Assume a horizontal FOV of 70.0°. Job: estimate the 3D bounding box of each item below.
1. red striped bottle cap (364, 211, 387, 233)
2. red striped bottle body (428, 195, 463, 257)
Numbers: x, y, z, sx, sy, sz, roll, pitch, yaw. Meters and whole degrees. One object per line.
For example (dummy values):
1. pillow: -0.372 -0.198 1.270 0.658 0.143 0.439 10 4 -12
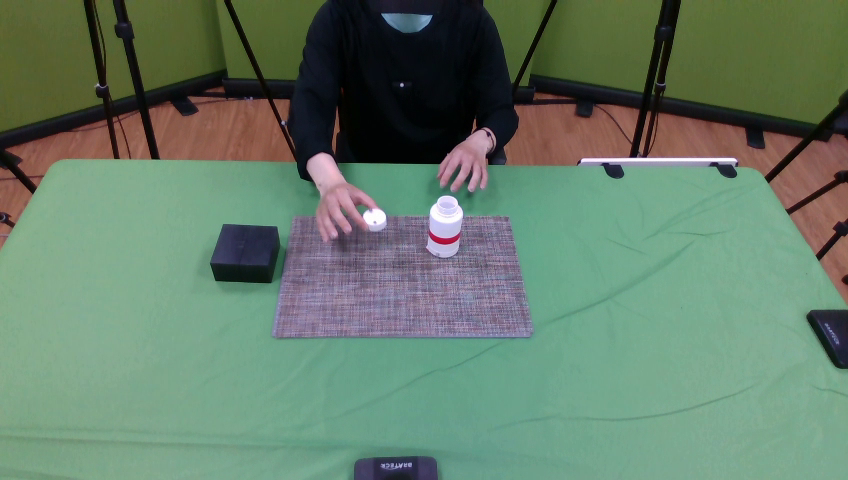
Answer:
1. red striped bottle cap: -0.091 -0.034 1.127 0.044 0.018 0.044 0 47 1
2. red striped bottle body: 0.041 -0.028 1.152 0.063 0.120 0.062 2 45 -2
